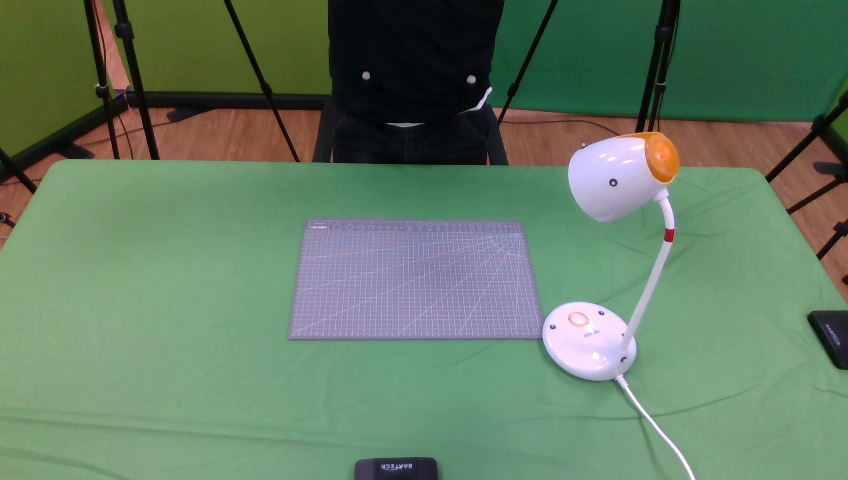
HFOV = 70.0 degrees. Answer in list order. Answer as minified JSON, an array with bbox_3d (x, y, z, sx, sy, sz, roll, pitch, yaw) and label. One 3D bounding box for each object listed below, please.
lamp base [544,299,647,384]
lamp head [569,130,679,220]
[{"bbox_3d":[0.299,0.124,0.984,0.161,0.181,0.178,-23,55,-23],"label":"lamp base"},{"bbox_3d":[0.272,-0.090,0.798,0.113,0.122,0.112,7,78,-33],"label":"lamp head"}]
